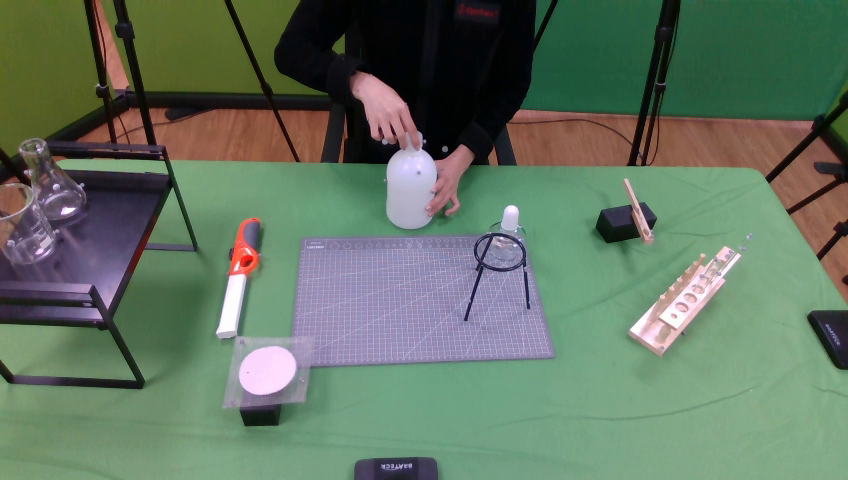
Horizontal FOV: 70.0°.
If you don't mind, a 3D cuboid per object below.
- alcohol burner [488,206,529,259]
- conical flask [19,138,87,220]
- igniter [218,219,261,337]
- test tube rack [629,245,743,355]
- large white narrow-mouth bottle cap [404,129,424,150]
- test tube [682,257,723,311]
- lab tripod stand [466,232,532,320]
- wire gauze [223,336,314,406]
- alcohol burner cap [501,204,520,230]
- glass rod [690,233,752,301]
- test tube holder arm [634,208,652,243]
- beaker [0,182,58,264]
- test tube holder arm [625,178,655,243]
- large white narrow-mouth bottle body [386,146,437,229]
[{"bbox_3d":[0.163,-0.020,1.158,0.078,0.120,0.077,0,47,0],"label":"alcohol burner"},{"bbox_3d":[-0.576,-0.097,0.930,0.075,0.122,0.075,2,46,-2],"label":"conical flask"},{"bbox_3d":[-0.336,0.060,1.111,0.057,0.025,0.274,-8,46,3],"label":"igniter"},{"bbox_3d":[0.474,0.095,1.091,0.242,0.085,0.066,-34,56,-31],"label":"test tube rack"},{"bbox_3d":[-0.018,-0.186,1.120,0.038,0.024,0.037,3,46,-2],"label":"large white narrow-mouth bottle cap"},{"bbox_3d":[0.474,0.080,1.037,0.017,0.151,0.017,1,50,-1],"label":"test tube"},{"bbox_3d":[0.125,0.059,1.065,0.148,0.132,0.147,1,45,0],"label":"lab tripod stand"},{"bbox_3d":[-0.237,0.197,0.931,0.121,0.011,0.124,1,45,-4],"label":"wire gauze"},{"bbox_3d":[0.164,-0.046,1.133,0.034,0.048,0.033,2,40,-2],"label":"alcohol burner cap"},{"bbox_3d":[0.507,0.053,1.041,0.008,0.200,0.008,5,51,-6],"label":"glass rod"},{"bbox_3d":[0.428,-0.030,1.189,0.010,0.015,0.087,2,47,-3],"label":"test tube holder arm"},{"bbox_3d":[-0.582,-0.019,0.870,0.074,0.101,0.083,5,46,1],"label":"beaker"},{"bbox_3d":[0.433,-0.062,1.220,0.013,0.015,0.177,1,47,-3],"label":"test tube holder arm"},{"bbox_3d":[-0.024,-0.120,1.190,0.102,0.195,0.101,2,46,-2],"label":"large white narrow-mouth bottle body"}]
